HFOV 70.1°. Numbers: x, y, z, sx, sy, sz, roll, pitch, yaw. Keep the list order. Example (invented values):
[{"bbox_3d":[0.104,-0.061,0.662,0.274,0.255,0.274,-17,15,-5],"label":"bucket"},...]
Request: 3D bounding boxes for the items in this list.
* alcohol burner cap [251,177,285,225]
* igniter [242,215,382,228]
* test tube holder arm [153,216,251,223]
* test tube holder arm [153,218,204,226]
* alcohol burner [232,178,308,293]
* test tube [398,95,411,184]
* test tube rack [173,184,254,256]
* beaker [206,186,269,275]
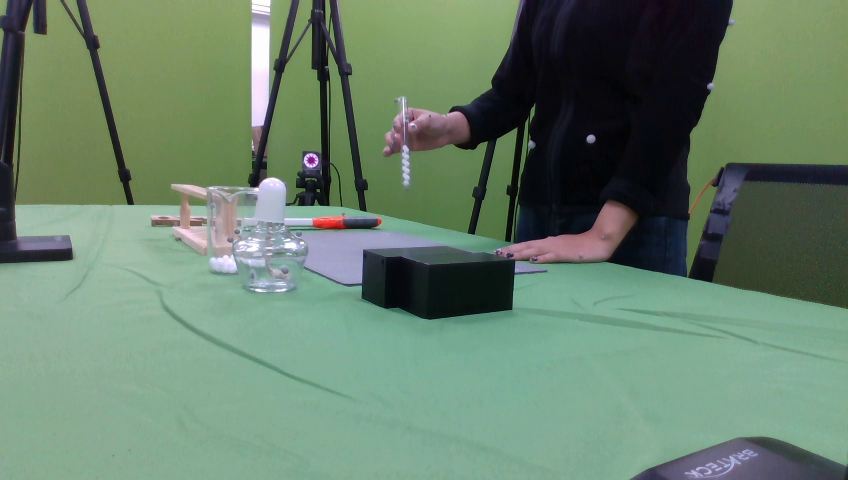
[{"bbox_3d":[-0.160,-0.041,0.628,0.034,0.048,0.034,9,7,-1],"label":"alcohol burner cap"},{"bbox_3d":[-0.212,-0.036,1.186,0.278,0.025,0.057,-2,-1,-31],"label":"igniter"},{"bbox_3d":[-0.422,-0.039,1.159,0.179,0.015,0.013,-2,43,-31],"label":"test tube holder arm"},{"bbox_3d":[-0.459,-0.034,1.132,0.088,0.015,0.010,-1,43,-30],"label":"test tube holder arm"},{"bbox_3d":[-0.161,-0.006,0.632,0.078,0.119,0.078,1,8,0],"label":"alcohol burner"},{"bbox_3d":[-0.030,-0.160,0.959,0.017,0.150,0.017,-2,-13,0],"label":"test tube"},{"bbox_3d":[-0.328,-0.036,0.927,0.067,0.085,0.241,-2,9,-32],"label":"test tube rack"},{"bbox_3d":[-0.220,-0.012,0.717,0.074,0.100,0.084,2,8,-3],"label":"beaker"}]
